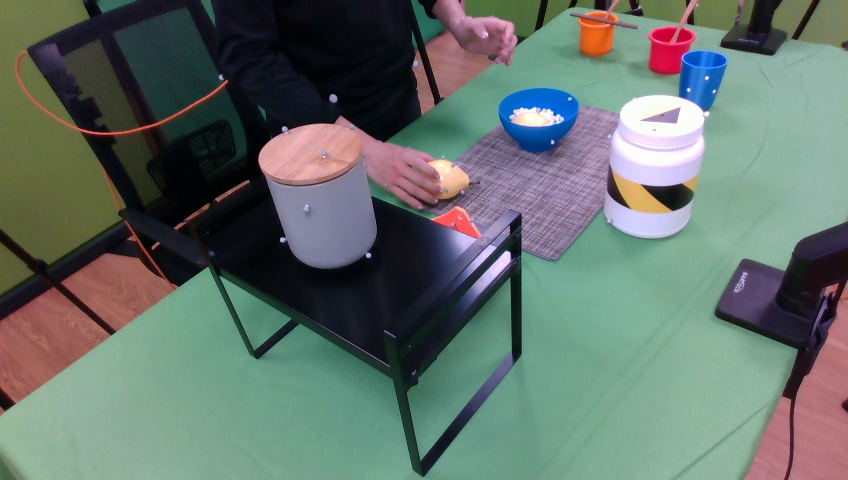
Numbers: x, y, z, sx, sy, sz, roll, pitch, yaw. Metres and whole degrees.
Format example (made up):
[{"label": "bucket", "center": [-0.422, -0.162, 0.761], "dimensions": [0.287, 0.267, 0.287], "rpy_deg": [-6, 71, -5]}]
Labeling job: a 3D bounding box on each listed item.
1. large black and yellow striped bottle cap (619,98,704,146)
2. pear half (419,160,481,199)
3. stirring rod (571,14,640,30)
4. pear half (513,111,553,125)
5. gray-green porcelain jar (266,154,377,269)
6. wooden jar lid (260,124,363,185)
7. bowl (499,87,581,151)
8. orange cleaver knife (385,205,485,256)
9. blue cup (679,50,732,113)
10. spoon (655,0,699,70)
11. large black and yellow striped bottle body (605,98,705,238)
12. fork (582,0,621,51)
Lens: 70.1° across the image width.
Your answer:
[{"label": "large black and yellow striped bottle cap", "center": [0.341, -0.172, 0.872], "dimensions": [0.115, 0.019, 0.114], "rpy_deg": [-4, 39, 4]}, {"label": "pear half", "center": [0.046, -0.110, 1.055], "dimensions": [0.110, 0.056, 0.076], "rpy_deg": [-2, 47, -2]}, {"label": "stirring rod", "center": [0.419, -0.508, 1.404], "dimensions": [0.174, 0.006, 0.014], "rpy_deg": [28, 55, 35]}, {"label": "pear half", "center": [0.212, -0.227, 1.152], "dimensions": [0.088, 0.031, 0.070], "rpy_deg": [7, 44, 10]}, {"label": "gray-green porcelain jar", "center": [-0.112, -0.039, 0.685], "dimensions": [0.106, 0.127, 0.105], "rpy_deg": [-4, 40, 4]}, {"label": "wooden jar lid", "center": [-0.119, -0.088, 0.644], "dimensions": [0.108, 0.021, 0.108], "rpy_deg": [-4, 40, 4]}, {"label": "bowl", "center": [0.220, -0.223, 1.155], "dimensions": [0.151, 0.077, 0.150], "rpy_deg": [-4, 40, 4]}, {"label": "orange cleaver knife", "center": [0.012, -0.010, 0.942], "dimensions": [0.012, 0.077, 0.210], "rpy_deg": [-36, 19, -35]}, {"label": "blue cup", "center": [0.545, -0.309, 1.193], "dimensions": [0.092, 0.100, 0.092], "rpy_deg": [-4, 39, 3]}, {"label": "spoon", "center": [0.567, -0.463, 1.337], "dimensions": [0.041, 0.022, 0.193], "rpy_deg": [30, 97, 38]}, {"label": "large black and yellow striped bottle body", "center": [0.352, -0.110, 0.928], "dimensions": [0.131, 0.185, 0.130], "rpy_deg": [-5, 41, 5]}, {"label": "fork", "center": [0.446, -0.539, 1.438], "dimensions": [0.207, 0.019, 0.028], "rpy_deg": [-57, 36, 12]}]
